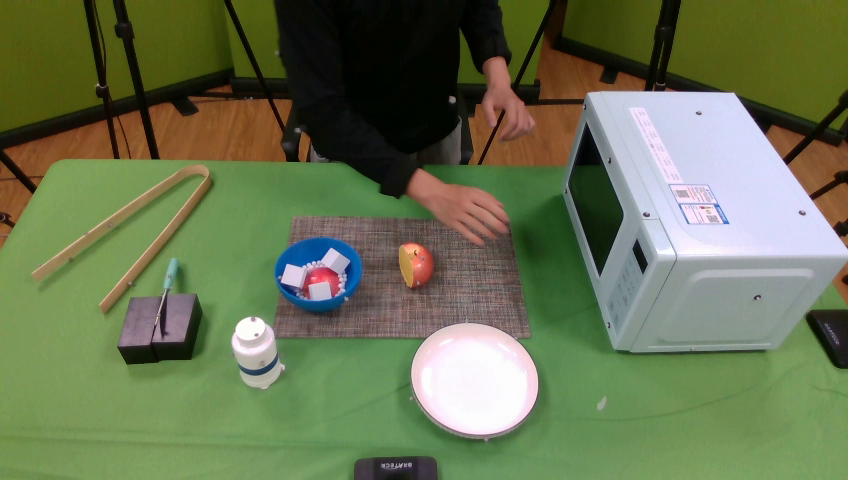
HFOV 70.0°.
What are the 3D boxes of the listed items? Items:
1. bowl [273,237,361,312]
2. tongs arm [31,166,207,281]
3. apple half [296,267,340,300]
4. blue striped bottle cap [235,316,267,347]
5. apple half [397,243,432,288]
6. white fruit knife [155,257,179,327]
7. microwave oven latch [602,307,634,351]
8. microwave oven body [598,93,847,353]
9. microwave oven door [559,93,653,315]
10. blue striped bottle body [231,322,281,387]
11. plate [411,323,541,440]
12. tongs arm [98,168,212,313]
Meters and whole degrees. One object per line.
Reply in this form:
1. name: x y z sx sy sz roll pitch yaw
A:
1. bowl: -0.186 0.074 1.070 0.151 0.077 0.150 3 46 -3
2. tongs arm: -0.578 -0.040 1.185 0.050 0.026 0.384 23 48 17
3. apple half: -0.186 0.071 1.067 0.081 0.033 0.081 3 45 -3
4. blue striped bottle cap: -0.260 0.137 0.907 0.044 0.021 0.044 3 43 -2
5. apple half: -0.013 0.046 1.116 0.053 0.075 0.080 -10 44 -21
6. white fruit knife: -0.440 0.085 1.037 0.016 0.027 0.206 10 26 -19
7. microwave oven latch: 0.332 0.153 1.044 0.030 0.029 0.078 -1 45 -4
8. microwave oven body: 0.475 -0.041 1.110 0.326 0.261 0.438 -1 45 -4
9. microwave oven door: 0.327 -0.074 1.123 0.039 0.245 0.353 -1 46 -5
10. blue striped bottle body: -0.262 0.171 0.944 0.063 0.121 0.062 2 46 -2
11. plate: 0.082 0.228 0.976 0.208 0.039 0.206 2 45 -2
12. tongs arm: -0.504 -0.012 1.167 0.028 0.028 0.385 11 46 11
